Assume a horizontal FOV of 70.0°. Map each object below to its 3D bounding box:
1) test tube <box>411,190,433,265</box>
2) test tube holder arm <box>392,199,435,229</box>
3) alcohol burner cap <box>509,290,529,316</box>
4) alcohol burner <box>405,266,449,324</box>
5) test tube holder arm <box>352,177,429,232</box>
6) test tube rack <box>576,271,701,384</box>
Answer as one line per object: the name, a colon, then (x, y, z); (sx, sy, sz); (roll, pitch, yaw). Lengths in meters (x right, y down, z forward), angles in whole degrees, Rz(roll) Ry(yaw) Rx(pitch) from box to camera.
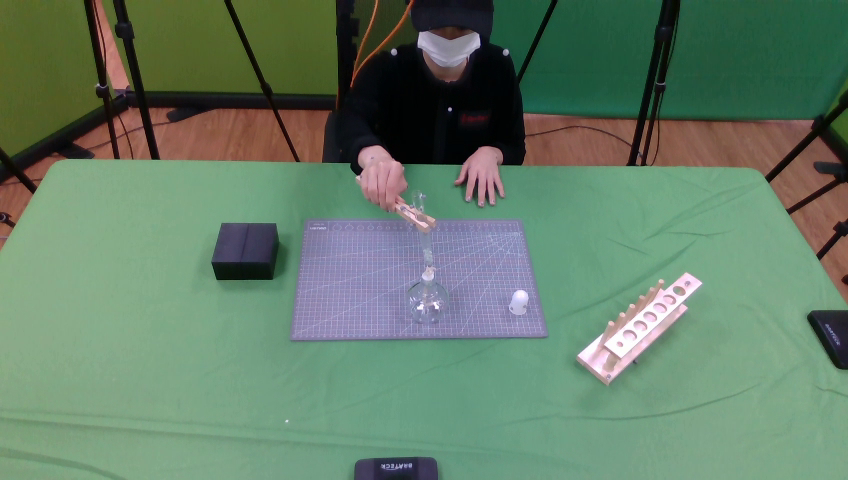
test tube: (-0.002, -0.017, 0.946); (0.017, 0.151, 0.017); (-6, 43, 5)
test tube holder arm: (-0.019, -0.042, 0.948); (0.087, 0.015, 0.010); (27, 49, 28)
alcohol burner cap: (0.171, 0.110, 1.086); (0.034, 0.048, 0.033); (2, 45, -2)
alcohol burner: (0.005, 0.089, 1.043); (0.078, 0.120, 0.077); (1, 45, -1)
test tube holder arm: (-0.056, -0.059, 0.967); (0.177, 0.015, 0.013); (32, 51, 32)
test tube rack: (0.373, 0.138, 1.047); (0.242, 0.085, 0.066); (-31, 56, -29)
